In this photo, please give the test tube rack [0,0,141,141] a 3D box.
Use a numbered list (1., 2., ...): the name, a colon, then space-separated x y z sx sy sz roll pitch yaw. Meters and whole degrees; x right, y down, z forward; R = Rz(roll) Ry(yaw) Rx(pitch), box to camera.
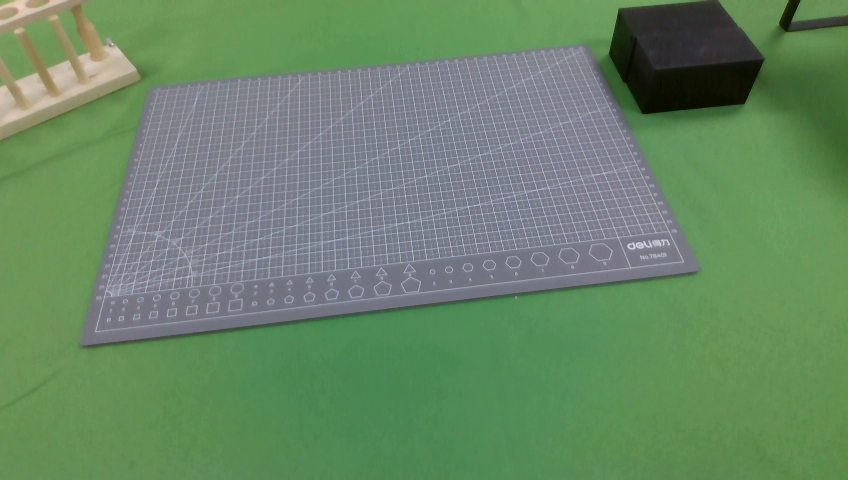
1. test tube rack: -0.407 -0.148 0.562 0.242 0.086 0.066 -33 57 -22
